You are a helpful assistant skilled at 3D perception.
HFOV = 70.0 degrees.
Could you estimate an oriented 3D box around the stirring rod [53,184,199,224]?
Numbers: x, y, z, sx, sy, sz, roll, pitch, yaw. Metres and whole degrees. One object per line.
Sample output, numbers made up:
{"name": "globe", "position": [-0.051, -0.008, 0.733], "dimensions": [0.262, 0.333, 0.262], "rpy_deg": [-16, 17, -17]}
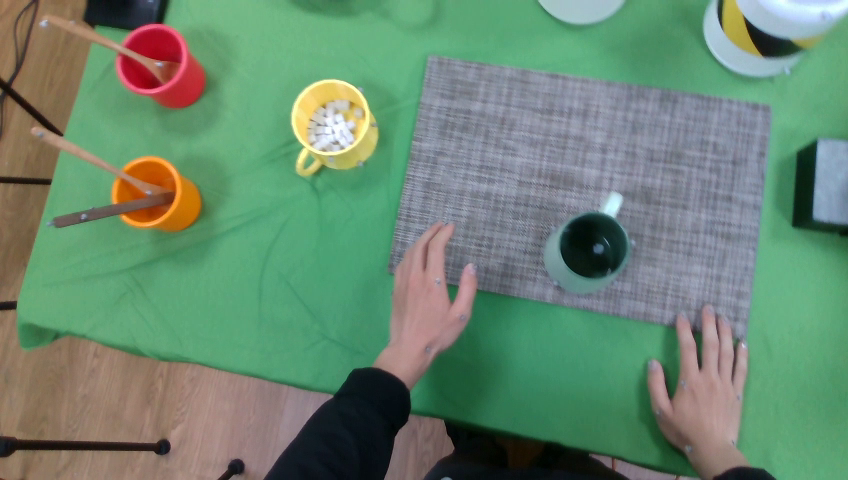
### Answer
{"name": "stirring rod", "position": [-0.367, -0.047, 0.760], "dimensions": [0.176, 0.006, 0.014], "rpy_deg": [-20, 78, -41]}

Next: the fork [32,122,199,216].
{"name": "fork", "position": [-0.381, -0.087, 0.761], "dimensions": [0.209, 0.018, 0.028], "rpy_deg": [33, 80, -35]}

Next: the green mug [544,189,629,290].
{"name": "green mug", "position": [0.200, -0.004, 0.720], "dimensions": [0.092, 0.105, 0.125], "rpy_deg": [27, 84, 9]}

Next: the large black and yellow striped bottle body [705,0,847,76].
{"name": "large black and yellow striped bottle body", "position": [0.425, -0.289, 0.708], "dimensions": [0.130, 0.184, 0.130], "rpy_deg": [-1, 81, 5]}

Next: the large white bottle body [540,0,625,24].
{"name": "large white bottle body", "position": [0.206, -0.366, 0.737], "dimensions": [0.130, 0.185, 0.130], "rpy_deg": [-1, 81, 5]}

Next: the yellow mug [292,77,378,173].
{"name": "yellow mug", "position": [-0.124, -0.141, 0.791], "dimensions": [0.099, 0.064, 0.131], "rpy_deg": [36, 87, 8]}

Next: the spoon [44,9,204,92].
{"name": "spoon", "position": [-0.384, -0.248, 0.789], "dimensions": [0.195, 0.021, 0.041], "rpy_deg": [24, 80, -36]}
